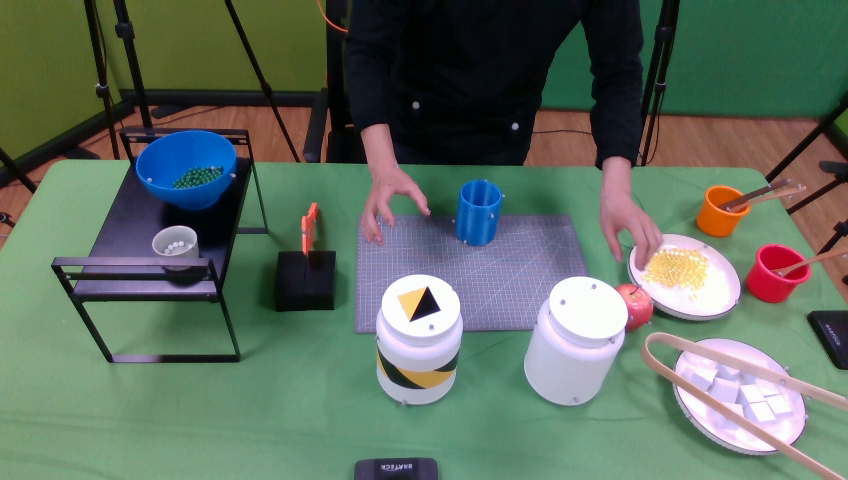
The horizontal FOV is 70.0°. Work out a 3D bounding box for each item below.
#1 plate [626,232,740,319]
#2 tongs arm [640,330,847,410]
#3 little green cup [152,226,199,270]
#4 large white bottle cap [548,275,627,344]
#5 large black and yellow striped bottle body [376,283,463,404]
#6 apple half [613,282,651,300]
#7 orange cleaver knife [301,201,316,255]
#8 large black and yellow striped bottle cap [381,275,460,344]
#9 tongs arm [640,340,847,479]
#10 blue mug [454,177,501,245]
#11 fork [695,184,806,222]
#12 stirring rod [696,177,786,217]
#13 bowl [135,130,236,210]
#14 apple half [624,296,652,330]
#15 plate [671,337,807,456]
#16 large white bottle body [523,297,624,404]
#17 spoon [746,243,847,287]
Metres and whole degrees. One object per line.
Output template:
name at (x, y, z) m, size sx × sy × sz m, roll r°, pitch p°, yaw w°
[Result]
plate at (0.488, 0.071, 1.157) m, size 0.209 × 0.038 × 0.208 m, roll 3°, pitch 46°, yaw -2°
tongs arm at (0.543, 0.225, 0.969) m, size 0.384 × 0.026 × 0.050 m, roll 22°, pitch 52°, yaw 13°
little green cup at (-0.364, 0.013, 0.894) m, size 0.061 × 0.039 × 0.061 m, roll 3°, pitch 46°, yaw -3°
large white bottle cap at (0.240, 0.100, 0.890) m, size 0.115 × 0.018 × 0.114 m, roll 3°, pitch 47°, yaw -3°
large black and yellow striped bottle body at (-0.010, 0.155, 0.937) m, size 0.131 × 0.185 × 0.130 m, roll 2°, pitch 47°, yaw -2°
apple half at (0.356, 0.109, 1.086) m, size 0.081 × 0.075 × 0.053 m, roll -13°, pitch 44°, yaw -12°
orange cleaver knife at (-0.221, -0.027, 1.161) m, size 0.012 × 0.077 × 0.210 m, roll -1°, pitch 15°, yaw -4°
large black and yellow striped bottle cap at (-0.005, 0.098, 0.875) m, size 0.115 × 0.019 × 0.114 m, roll 2°, pitch 45°, yaw -1°
tongs arm at (0.500, 0.277, 0.919) m, size 0.386 × 0.028 × 0.028 m, roll 34°, pitch 59°, yaw 22°
blue mug at (0.106, -0.067, 1.208) m, size 0.082 × 0.106 × 0.116 m, roll 5°, pitch 46°, yaw 1°
fork at (0.658, -0.074, 1.229) m, size 0.207 × 0.019 × 0.028 m, roll -24°, pitch 34°, yaw 36°
stirring rod at (0.648, -0.087, 1.244) m, size 0.176 × 0.006 × 0.014 m, roll -25°, pitch 50°, yaw 29°
bowl at (-0.375, -0.102, 0.978) m, size 0.151 × 0.077 × 0.150 m, roll 2°, pitch 46°, yaw -2°
apple half at (0.368, 0.135, 1.060) m, size 0.081 × 0.081 × 0.032 m, roll -11°, pitch 43°, yaw -15°
plate at (0.504, 0.254, 0.984) m, size 0.208 × 0.039 × 0.206 m, roll 2°, pitch 46°, yaw -2°
large white bottle body at (0.235, 0.159, 0.952) m, size 0.131 × 0.185 × 0.130 m, roll 2°, pitch 47°, yaw -2°
spoon at (0.702, 0.043, 1.126) m, size 0.194 × 0.022 × 0.041 m, roll -29°, pitch 38°, yaw 30°
